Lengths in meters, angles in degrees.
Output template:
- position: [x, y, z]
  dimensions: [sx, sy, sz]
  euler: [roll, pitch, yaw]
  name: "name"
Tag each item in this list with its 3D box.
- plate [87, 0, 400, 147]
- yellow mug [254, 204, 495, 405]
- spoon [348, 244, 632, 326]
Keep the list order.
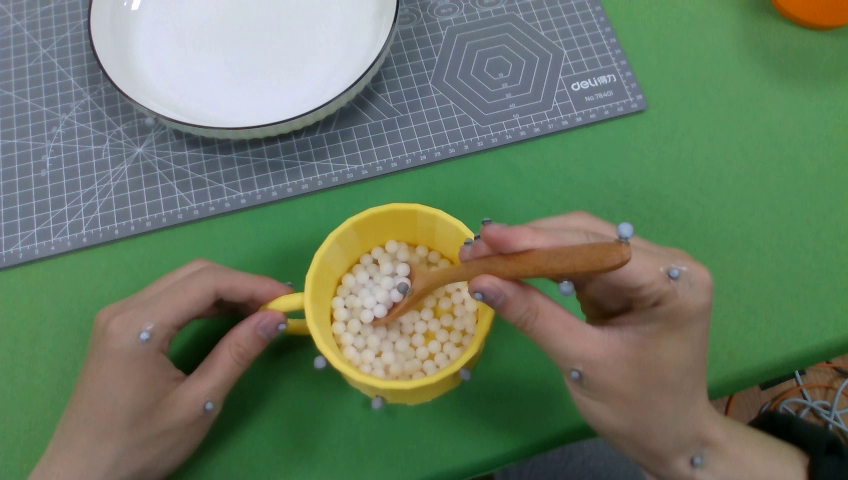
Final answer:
- position: [-0.119, -0.152, 0.421]
  dimensions: [0.208, 0.039, 0.206]
  euler: [0, 69, 0]
  name: "plate"
- position: [-0.028, 0.039, 0.336]
  dimensions: [0.131, 0.064, 0.099]
  euler: [-6, 69, -2]
  name: "yellow mug"
- position: [0.015, 0.020, 0.289]
  dimensions: [0.022, 0.193, 0.041]
  euler: [35, 65, -23]
  name: "spoon"
